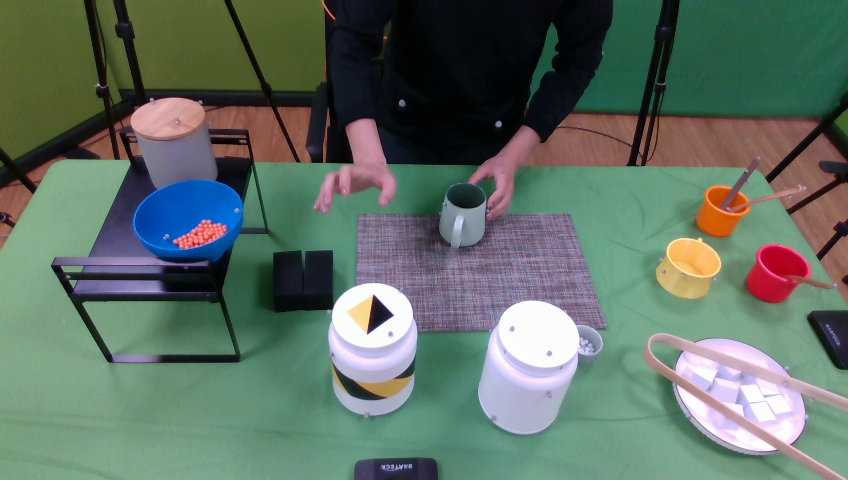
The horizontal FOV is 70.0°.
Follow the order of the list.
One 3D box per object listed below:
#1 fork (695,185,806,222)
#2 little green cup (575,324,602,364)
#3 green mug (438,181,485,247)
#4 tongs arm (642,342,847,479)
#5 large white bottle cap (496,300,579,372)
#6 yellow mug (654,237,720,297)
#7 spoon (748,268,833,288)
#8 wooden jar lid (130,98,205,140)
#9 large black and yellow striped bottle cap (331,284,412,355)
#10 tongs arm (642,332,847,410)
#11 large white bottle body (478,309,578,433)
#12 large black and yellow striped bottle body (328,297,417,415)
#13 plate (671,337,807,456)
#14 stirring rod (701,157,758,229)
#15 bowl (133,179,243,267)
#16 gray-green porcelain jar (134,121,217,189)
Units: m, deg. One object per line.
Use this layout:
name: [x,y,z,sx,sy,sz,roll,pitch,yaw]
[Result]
fork: [0.658,-0.074,1.230,0.207,0.019,0.028,-23,36,37]
little green cup: [0.269,0.179,1.035,0.061,0.039,0.061,2,45,-2]
green mug: [0.071,-0.039,1.177,0.092,0.105,0.124,12,47,7]
tongs arm: [0.504,0.279,0.918,0.386,0.028,0.028,33,59,22]
large white bottle cap: [0.160,0.133,0.852,0.115,0.018,0.114,3,46,-3]
yellow mug: [0.509,0.041,1.167,0.099,0.064,0.130,24,48,18]
spoon: [0.660,0.068,1.098,0.041,0.193,0.021,-4,91,-6]
wooden jar lid: [-0.393,-0.183,0.934,0.108,0.021,0.107,2,44,-2]
large black and yellow striped bottle cap: [-0.073,0.111,0.858,0.115,0.019,0.114,2,46,-1]
tongs arm: [0.546,0.227,0.968,0.384,0.026,0.050,22,52,13]
large white bottle body: [0.156,0.192,0.913,0.131,0.185,0.130,2,46,-2]
large black and yellow striped bottle body: [-0.078,0.167,0.920,0.131,0.185,0.130,2,46,-2]
plate: [0.503,0.254,0.984,0.208,0.039,0.206,2,46,-2]
stirring rod: [0.634,-0.097,1.257,0.014,0.006,0.176,38,97,30]
bowl: [-0.339,-0.013,0.895,0.151,0.077,0.150,2,46,-2]
gray-green porcelain jar: [-0.397,-0.141,0.980,0.106,0.127,0.105,2,47,-2]
